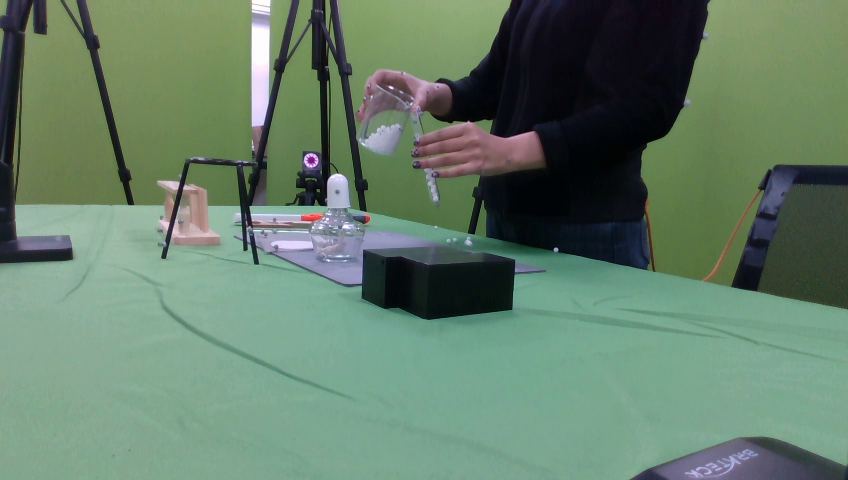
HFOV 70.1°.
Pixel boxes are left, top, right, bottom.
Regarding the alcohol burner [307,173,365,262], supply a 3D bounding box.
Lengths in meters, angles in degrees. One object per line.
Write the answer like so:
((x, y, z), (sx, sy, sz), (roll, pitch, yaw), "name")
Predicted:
((-0.117, -0.030, 0.813), (0.078, 0.119, 0.078), (3, 9, 0), "alcohol burner")

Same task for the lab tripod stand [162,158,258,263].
((-0.265, -0.041, 0.802), (0.148, 0.131, 0.148), (4, 7, 0), "lab tripod stand")

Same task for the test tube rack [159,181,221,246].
((-0.395, -0.050, 1.010), (0.067, 0.085, 0.241), (-2, 8, -28), "test tube rack")

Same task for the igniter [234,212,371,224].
((-0.246, -0.045, 1.248), (0.278, 0.025, 0.057), (-1, -2, -25), "igniter")

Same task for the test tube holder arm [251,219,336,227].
((-0.254, -0.031, 1.157), (0.179, 0.015, 0.013), (-3, 46, -31), "test tube holder arm")

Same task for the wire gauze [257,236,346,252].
((-0.190, 0.005, 0.931), (0.122, 0.011, 0.124), (1, 7, -21), "wire gauze")

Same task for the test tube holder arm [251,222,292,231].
((-0.291, -0.026, 1.130), (0.088, 0.015, 0.010), (-2, 46, -30), "test tube holder arm")

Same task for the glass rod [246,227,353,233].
((-0.224, -0.017, 1.109), (0.201, 0.008, 0.008), (1, 7, -27), "glass rod")

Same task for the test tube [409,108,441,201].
((0.002, -0.132, 0.932), (0.017, 0.150, 0.017), (-14, -7, -1), "test tube")

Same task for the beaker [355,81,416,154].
((-0.064, -0.198, 0.992), (0.074, 0.100, 0.083), (5, 28, -42), "beaker")

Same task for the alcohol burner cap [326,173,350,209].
((-0.117, -0.065, 0.807), (0.034, 0.048, 0.034), (-3, 10, 1), "alcohol burner cap")
